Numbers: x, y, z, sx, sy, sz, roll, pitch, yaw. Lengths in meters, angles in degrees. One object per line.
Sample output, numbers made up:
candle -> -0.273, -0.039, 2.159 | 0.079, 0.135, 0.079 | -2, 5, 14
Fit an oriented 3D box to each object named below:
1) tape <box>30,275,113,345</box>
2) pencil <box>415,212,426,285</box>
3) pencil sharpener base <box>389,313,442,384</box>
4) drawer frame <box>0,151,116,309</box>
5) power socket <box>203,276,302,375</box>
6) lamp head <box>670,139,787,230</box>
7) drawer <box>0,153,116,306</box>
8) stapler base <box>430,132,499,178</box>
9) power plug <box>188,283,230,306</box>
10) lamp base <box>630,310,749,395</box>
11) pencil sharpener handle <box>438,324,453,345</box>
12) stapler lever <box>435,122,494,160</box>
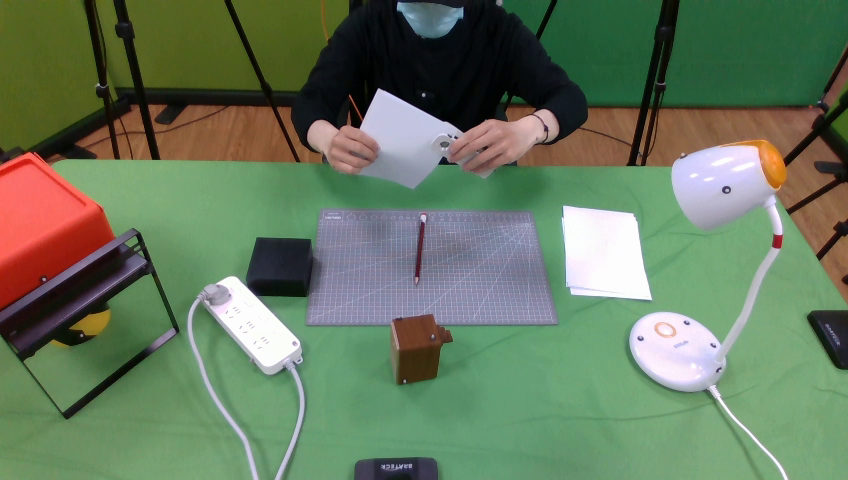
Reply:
tape -> -0.594, 0.117, 1.021 | 0.117, 0.053, 0.116 | 2, 45, -2
pencil -> -0.008, 0.014, 1.190 | 0.012, 0.012, 0.193 | 5, 48, 1
pencil sharpener base -> -0.013, 0.175, 0.971 | 0.077, 0.107, 0.061 | -8, 47, -11
drawer frame -> -0.604, -0.013, 0.876 | 0.201, 0.083, 0.213 | 31, 52, 23
power socket -> -0.297, 0.141, 1.034 | 0.072, 0.033, 0.225 | -34, 58, -30
lamp head -> 0.415, -0.079, 0.812 | 0.113, 0.123, 0.112 | 13, 70, -37
drawer -> -0.601, -0.015, 0.880 | 0.193, 0.073, 0.211 | 32, 53, 23
stapler base -> 0.071, -0.156, 1.075 | 0.131, 0.041, 0.024 | 26, 44, -25
power plug -> -0.368, 0.099, 1.037 | 0.072, 0.053, 0.035 | -24, 52, -26
lamp base -> 0.447, 0.142, 0.984 | 0.161, 0.181, 0.178 | -24, 55, -24
pencil sharpener handle -> 0.036, 0.155, 0.976 | 0.031, 0.068, 0.036 | -8, 69, -11
stapler lever -> 0.072, -0.173, 1.092 | 0.118, 0.027, 0.040 | 25, 44, -26
